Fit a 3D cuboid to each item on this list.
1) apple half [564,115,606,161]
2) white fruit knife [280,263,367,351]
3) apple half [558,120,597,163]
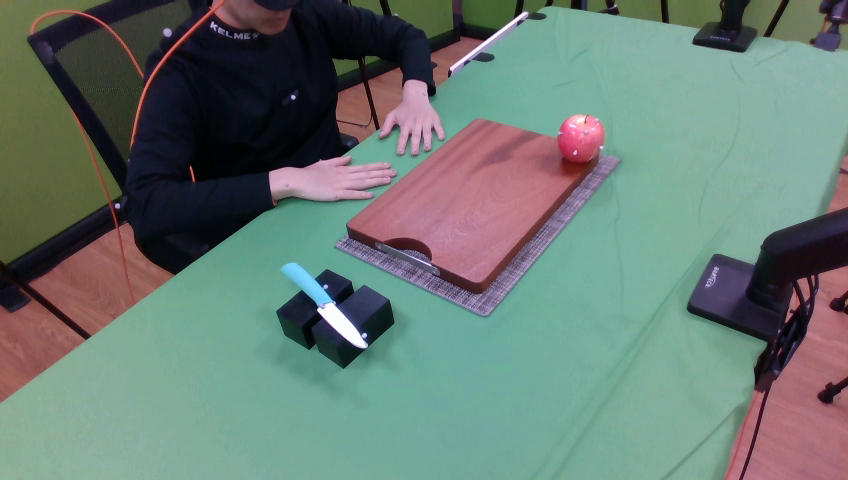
[{"bbox_3d":[0.284,-0.181,1.057,0.053,0.075,0.080,-32,44,-31],"label":"apple half"},{"bbox_3d":[-0.136,0.087,0.820,0.027,0.016,0.205,-46,53,-7],"label":"white fruit knife"},{"bbox_3d":[0.255,-0.163,1.037,0.033,0.081,0.080,-33,46,-31],"label":"apple half"}]
